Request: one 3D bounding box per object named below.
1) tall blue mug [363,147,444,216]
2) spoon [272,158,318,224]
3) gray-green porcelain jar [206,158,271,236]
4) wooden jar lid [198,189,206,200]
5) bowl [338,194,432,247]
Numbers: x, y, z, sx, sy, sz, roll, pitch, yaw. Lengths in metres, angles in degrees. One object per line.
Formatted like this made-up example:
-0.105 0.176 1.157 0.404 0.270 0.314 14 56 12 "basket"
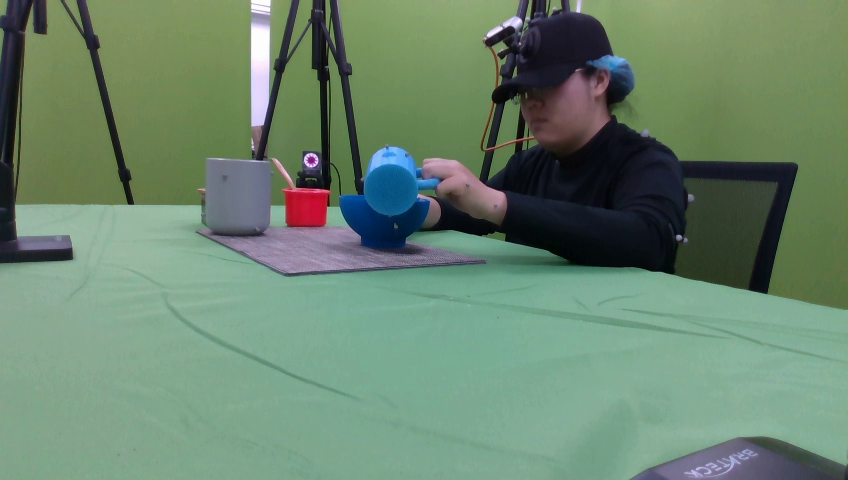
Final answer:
-0.033 -0.082 0.880 0.107 0.077 0.108 23 18 -11 "tall blue mug"
-0.268 -0.103 1.236 0.042 0.193 0.021 -10 -32 -39 "spoon"
-0.316 -0.074 1.032 0.106 0.126 0.106 3 7 0 "gray-green porcelain jar"
-0.382 -0.088 1.175 0.108 0.020 0.108 3 8 0 "wooden jar lid"
-0.066 -0.031 0.984 0.151 0.077 0.151 3 7 0 "bowl"
